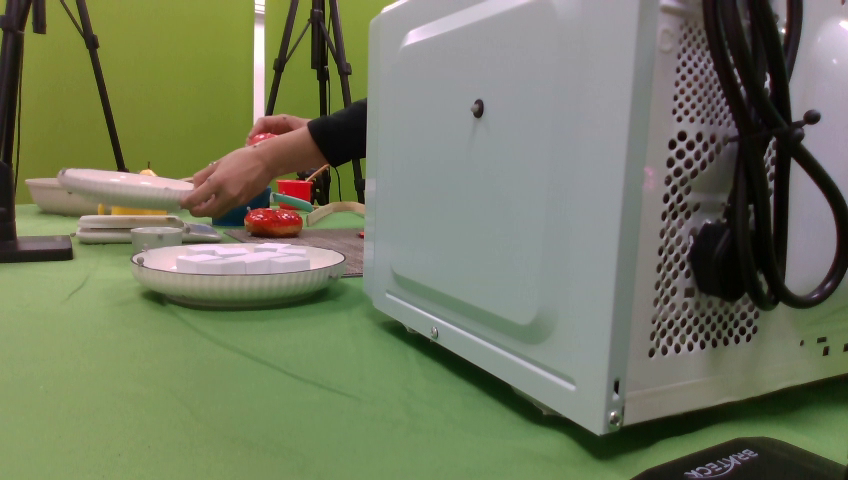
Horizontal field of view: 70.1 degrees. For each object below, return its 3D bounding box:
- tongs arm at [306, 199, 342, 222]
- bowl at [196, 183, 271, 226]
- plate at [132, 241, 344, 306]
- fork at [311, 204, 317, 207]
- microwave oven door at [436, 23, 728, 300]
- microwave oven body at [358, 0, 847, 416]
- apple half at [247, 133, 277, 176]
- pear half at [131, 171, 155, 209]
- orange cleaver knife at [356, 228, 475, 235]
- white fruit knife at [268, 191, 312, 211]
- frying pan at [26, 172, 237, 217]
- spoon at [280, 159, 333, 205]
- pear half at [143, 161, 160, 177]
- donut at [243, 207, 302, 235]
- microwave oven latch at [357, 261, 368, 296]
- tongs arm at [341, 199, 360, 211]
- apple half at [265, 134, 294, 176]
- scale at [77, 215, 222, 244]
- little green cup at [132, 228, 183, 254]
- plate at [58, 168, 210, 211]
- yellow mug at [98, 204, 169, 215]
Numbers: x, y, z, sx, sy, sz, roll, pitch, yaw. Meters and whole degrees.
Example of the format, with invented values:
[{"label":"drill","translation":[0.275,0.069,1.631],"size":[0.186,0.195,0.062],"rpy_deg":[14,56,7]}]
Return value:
[{"label":"tongs arm","translation":[-0.233,-0.072,1.414],"size":[0.028,0.028,0.387],"rpy_deg":[-3,7,1]},{"label":"bowl","translation":[-0.382,-0.071,1.202],"size":[0.151,0.077,0.151],"rpy_deg":[3,7,0]},{"label":"plate","translation":[-0.187,0.033,0.625],"size":[0.208,0.039,0.207],"rpy_deg":[2,7,0]},{"label":"fork","translation":[-0.356,-0.105,1.526],"size":[0.208,0.018,0.028],"rpy_deg":[16,-5,-41]},{"label":"microwave oven door","translation":[0.180,-0.073,0.621],"size":[0.358,0.243,0.039],"rpy_deg":[-2,9,-29]},{"label":"microwave oven body","translation":[0.211,-0.047,0.474],"size":[0.444,0.260,0.324],"rpy_deg":[-1,7,-28]},{"label":"apple half","translation":[-0.291,-0.154,1.098],"size":[0.053,0.074,0.081],"rpy_deg":[-1,3,17]},{"label":"pear half","translation":[-0.638,-0.113,1.361],"size":[0.031,0.088,0.070],"rpy_deg":[5,11,4]},{"label":"orange cleaver knife","translation":[-0.017,-0.015,1.080],"size":[0.211,0.012,0.077],"rpy_deg":[0,1,-3]},{"label":"white fruit knife","translation":[-0.364,-0.105,1.464],"size":[0.208,0.027,0.016],"rpy_deg":[15,0,-34]},{"label":"frying pan","translation":[-0.624,-0.118,1.387],"size":[0.305,0.102,0.490],"rpy_deg":[8,17,32]},{"label":"spoon","translation":[-0.317,-0.159,1.640],"size":[0.194,0.022,0.041],"rpy_deg":[-49,32,-20]},{"label":"pear half","translation":[-0.602,-0.120,1.354],"size":[0.056,0.110,0.076],"rpy_deg":[4,11,6]},{"label":"donut","translation":[-0.261,-0.032,1.043],"size":[0.099,0.048,0.099],"rpy_deg":[4,10,0]},{"label":"microwave oven latch","translation":[-0.019,0.033,0.532],"size":[0.079,0.029,0.030],"rpy_deg":[-1,8,-29]},{"label":"tongs arm","translation":[-0.148,-0.071,1.429],"size":[0.051,0.026,0.383],"rpy_deg":[-2,8,-14]},{"label":"apple half","translation":[-0.253,-0.153,1.088],"size":[0.032,0.081,0.081],"rpy_deg":[-1,6,18]},{"label":"scale","translation":[-0.434,-0.019,0.963],"size":[0.202,0.031,0.148],"rpy_deg":[-1,9,-27]},{"label":"little green cup","translation":[-0.342,0.006,0.779],"size":[0.061,0.038,0.061],"rpy_deg":[2,8,0]},{"label":"plate","translation":[-0.440,-0.076,0.927],"size":[0.209,0.038,0.209],"rpy_deg":[9,7,-1]},{"label":"yellow mug","translation":[-0.519,-0.055,1.080],"size":[0.099,0.064,0.131],"rpy_deg":[7,10,26]}]
